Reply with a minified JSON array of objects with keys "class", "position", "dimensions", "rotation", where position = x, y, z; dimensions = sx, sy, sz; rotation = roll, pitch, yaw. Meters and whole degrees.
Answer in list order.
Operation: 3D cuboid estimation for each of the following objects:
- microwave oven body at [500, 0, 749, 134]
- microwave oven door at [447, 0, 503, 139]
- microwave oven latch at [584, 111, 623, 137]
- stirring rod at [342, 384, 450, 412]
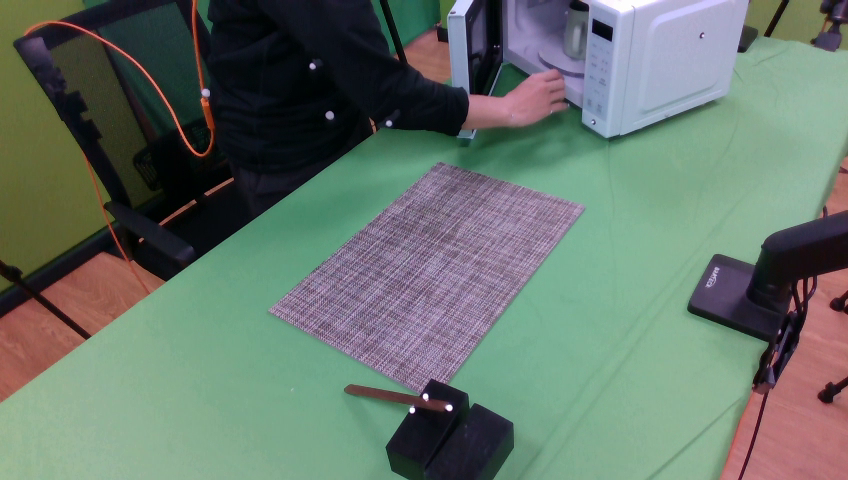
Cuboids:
[{"class":"microwave oven body","position":[0.382,-0.444,1.246],"dimensions":[0.327,0.261,0.437],"rotation":[-22,42,-16]},{"class":"microwave oven door","position":[0.112,-0.404,1.229],"dimensions":[0.039,0.245,0.355],"rotation":[6,42,15]},{"class":"microwave oven latch","position":[0.337,-0.222,1.142],"dimensions":[0.030,0.029,0.078],"rotation":[-21,42,-14]},{"class":"stirring rod","position":[-0.038,0.186,0.714],"dimensions":[0.175,0.006,0.014],"rotation":[-3,22,43]}]
